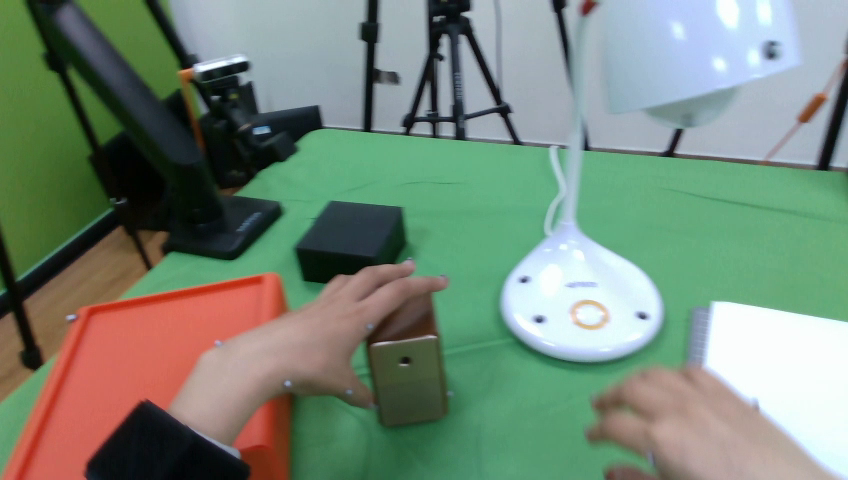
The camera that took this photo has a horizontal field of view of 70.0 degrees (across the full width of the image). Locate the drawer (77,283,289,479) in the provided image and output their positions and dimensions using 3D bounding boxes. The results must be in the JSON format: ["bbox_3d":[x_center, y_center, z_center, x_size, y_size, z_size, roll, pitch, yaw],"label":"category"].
[{"bbox_3d":[-0.220,0.138,0.535,0.195,0.074,0.209,-11,36,-5],"label":"drawer"}]

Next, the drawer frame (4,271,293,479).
[{"bbox_3d":[-0.222,0.137,0.537,0.202,0.083,0.211,-11,35,-5],"label":"drawer frame"}]

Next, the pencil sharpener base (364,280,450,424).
[{"bbox_3d":[-0.015,0.098,0.535,0.061,0.108,0.076,-9,36,-1],"label":"pencil sharpener base"}]

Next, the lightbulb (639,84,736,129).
[{"bbox_3d":[0.156,-0.122,0.367,0.059,0.108,0.059,-7,12,2],"label":"lightbulb"}]

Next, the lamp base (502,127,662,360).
[{"bbox_3d":[0.151,-0.006,0.589,0.161,0.182,0.177,-10,34,-5],"label":"lamp base"}]

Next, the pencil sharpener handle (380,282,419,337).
[{"bbox_3d":[-0.023,0.059,0.569,0.036,0.068,0.030,-4,36,-5],"label":"pencil sharpener handle"}]

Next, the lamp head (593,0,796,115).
[{"bbox_3d":[0.150,-0.147,0.368,0.112,0.123,0.112,-18,6,2],"label":"lamp head"}]
